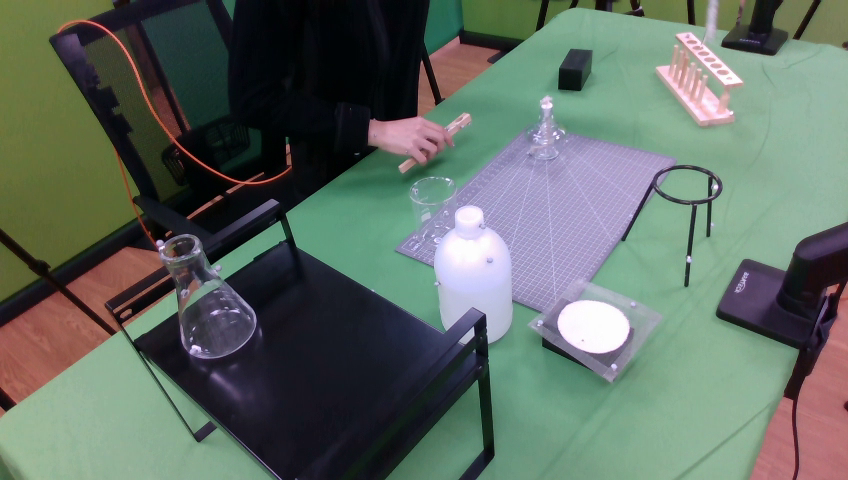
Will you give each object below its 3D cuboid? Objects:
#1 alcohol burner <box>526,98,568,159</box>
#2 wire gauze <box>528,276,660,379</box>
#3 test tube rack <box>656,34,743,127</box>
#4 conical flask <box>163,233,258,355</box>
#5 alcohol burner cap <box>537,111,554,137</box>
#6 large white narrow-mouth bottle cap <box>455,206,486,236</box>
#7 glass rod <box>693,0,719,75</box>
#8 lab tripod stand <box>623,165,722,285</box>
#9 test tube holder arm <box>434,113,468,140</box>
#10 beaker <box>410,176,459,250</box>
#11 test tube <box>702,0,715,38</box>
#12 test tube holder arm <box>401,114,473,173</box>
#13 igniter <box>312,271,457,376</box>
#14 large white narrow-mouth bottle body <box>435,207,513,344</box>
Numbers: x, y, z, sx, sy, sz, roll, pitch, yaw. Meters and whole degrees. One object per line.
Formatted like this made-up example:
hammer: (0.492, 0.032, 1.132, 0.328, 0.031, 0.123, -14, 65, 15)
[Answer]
alcohol burner: (0.228, -0.210, 1.118, 0.078, 0.119, 0.077, -5, 43, 5)
wire gauze: (0.214, 0.103, 0.763, 0.124, 0.011, 0.122, 30, 53, 35)
test tube rack: (0.553, -0.330, 1.233, 0.067, 0.085, 0.241, -7, 40, 2)
conical flask: (-0.217, 0.051, 0.601, 0.075, 0.122, 0.075, -4, 40, 4)
alcohol burner cap: (0.242, -0.232, 1.196, 0.034, 0.048, 0.033, -1, 39, 1)
large white narrow-mouth bottle cap: (0.057, -0.023, 0.734, 0.038, 0.024, 0.037, -4, 40, 4)
glass rod: (0.561, -0.401, 1.214, 0.008, 0.200, 0.008, -1, 48, 2)
lab tripod stand: (0.365, -0.030, 0.875, 0.148, 0.132, 0.147, -6, 41, 6)
test tube holder arm: (0.053, -0.208, 1.127, 0.088, 0.015, 0.010, -41, 38, -23)
beaker: (0.022, -0.041, 0.963, 0.073, 0.101, 0.084, 28, 51, 35)
test tube: (0.498, -0.426, 1.049, 0.017, 0.151, 0.017, -8, 37, 7)
test tube holder arm: (0.025, -0.178, 1.106, 0.179, 0.015, 0.013, -42, 38, -23)
igniter: (-0.068, 0.111, 0.859, 0.274, 0.025, 0.057, 27, 61, 34)
large white narrow-mouth bottle body: (0.065, 0.041, 0.791, 0.102, 0.195, 0.101, -4, 41, 4)
